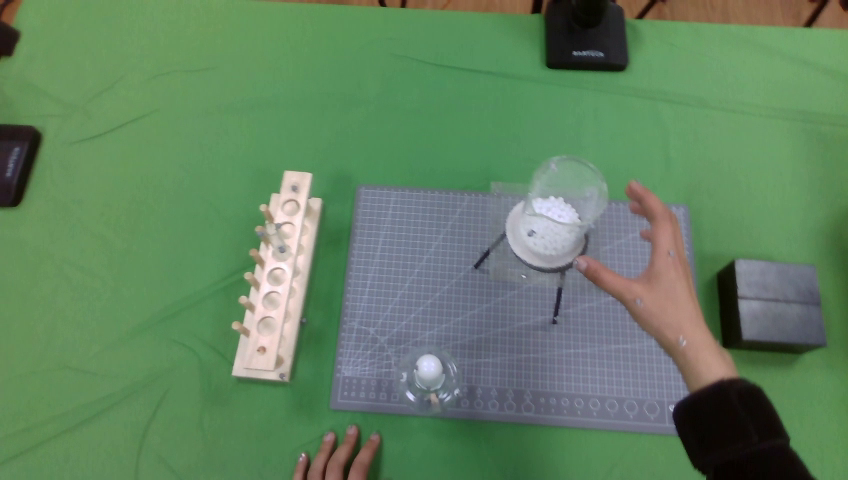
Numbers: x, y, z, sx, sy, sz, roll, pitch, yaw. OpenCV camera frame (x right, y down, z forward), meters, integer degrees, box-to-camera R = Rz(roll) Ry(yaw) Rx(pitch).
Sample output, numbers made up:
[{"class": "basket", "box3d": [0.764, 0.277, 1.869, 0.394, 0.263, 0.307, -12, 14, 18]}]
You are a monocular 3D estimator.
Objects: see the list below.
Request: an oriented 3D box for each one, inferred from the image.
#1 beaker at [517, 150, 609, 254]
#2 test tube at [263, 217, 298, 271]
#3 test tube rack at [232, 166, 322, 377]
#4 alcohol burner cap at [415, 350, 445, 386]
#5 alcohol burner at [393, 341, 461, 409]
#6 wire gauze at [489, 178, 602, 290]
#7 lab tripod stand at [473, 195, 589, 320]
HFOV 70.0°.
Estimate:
[{"class": "beaker", "box3d": [0.134, -0.032, 0.616, 0.084, 0.101, 0.073, -28, 72, -11]}, {"class": "test tube", "box3d": [-0.162, 0.009, 0.695, 0.017, 0.151, 0.017, 1, 70, -2]}, {"class": "test tube rack", "box3d": [-0.183, 0.036, 0.737, 0.067, 0.086, 0.240, 6, 69, 2]}, {"class": "alcohol burner cap", "box3d": [0.005, 0.135, 0.646, 0.034, 0.048, 0.033, -1, 64, 3]}, {"class": "alcohol burner", "box3d": [0.005, 0.149, 0.679, 0.078, 0.120, 0.077, 1, 69, -2]}, {"class": "wire gauze", "box3d": [0.133, -0.010, 0.659, 0.125, 0.011, 0.120, 6, 69, -1]}, {"class": "lab tripod stand", "box3d": [0.137, 0.010, 0.722, 0.148, 0.132, 0.147, 0, 67, 0]}]
